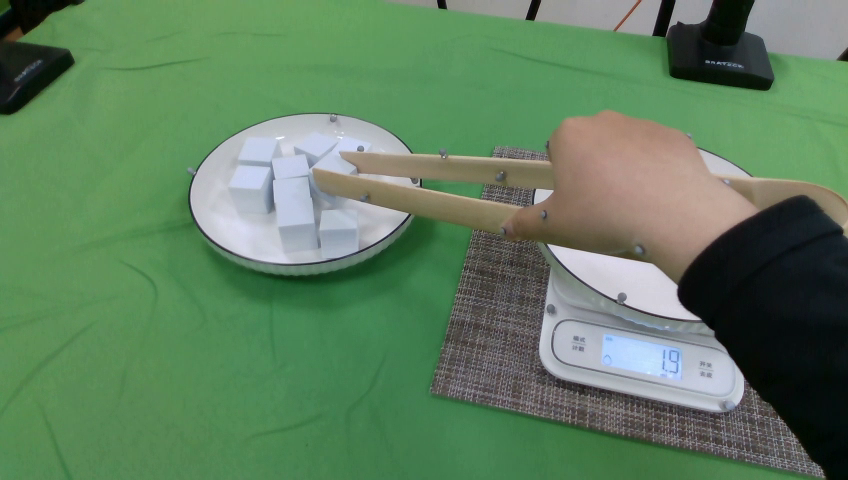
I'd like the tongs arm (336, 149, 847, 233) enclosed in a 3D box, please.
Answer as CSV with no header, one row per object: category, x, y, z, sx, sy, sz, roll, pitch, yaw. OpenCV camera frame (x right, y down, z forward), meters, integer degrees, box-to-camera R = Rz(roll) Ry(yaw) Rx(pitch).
tongs arm,0.069,-0.036,0.421,0.382,0.027,0.050,8,43,35

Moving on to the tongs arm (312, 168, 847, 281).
tongs arm,0.055,-0.021,0.408,0.384,0.028,0.028,12,42,38

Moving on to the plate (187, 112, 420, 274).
plate,-0.107,-0.044,0.563,0.209,0.038,0.207,1,47,-1

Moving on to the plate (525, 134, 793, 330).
plate,0.184,-0.009,0.494,0.208,0.039,0.205,2,48,-1

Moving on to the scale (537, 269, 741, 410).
scale,0.177,0.034,0.499,0.148,0.032,0.199,11,48,9
